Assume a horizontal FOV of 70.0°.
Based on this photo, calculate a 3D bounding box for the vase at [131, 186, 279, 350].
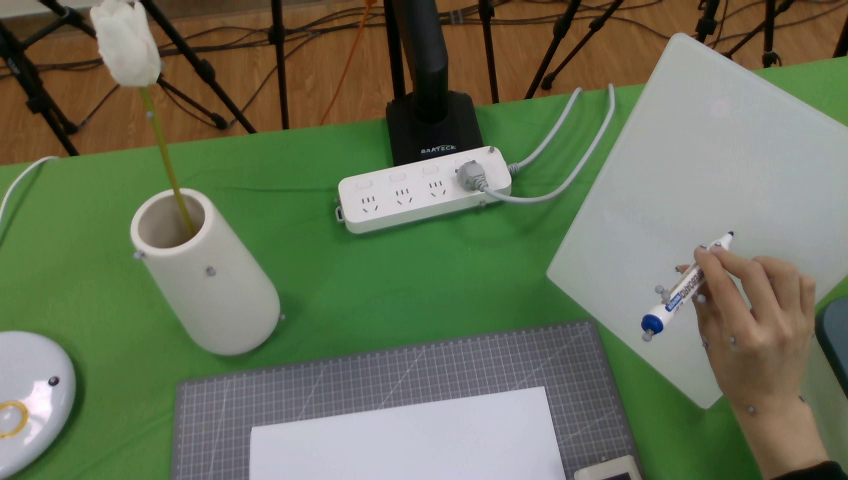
[{"bbox_3d":[-0.210,0.032,0.593,0.098,0.202,0.097,-1,58,3],"label":"vase"}]

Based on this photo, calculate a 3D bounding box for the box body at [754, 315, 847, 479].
[{"bbox_3d":[0.470,0.220,0.481,0.254,0.162,0.360,-9,59,-4],"label":"box body"}]

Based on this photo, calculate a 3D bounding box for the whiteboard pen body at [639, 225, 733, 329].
[{"bbox_3d":[0.204,0.023,0.461,0.017,0.017,0.141,40,55,23],"label":"whiteboard pen body"}]

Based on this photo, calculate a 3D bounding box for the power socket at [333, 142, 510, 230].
[{"bbox_3d":[-0.001,-0.068,0.746,0.227,0.033,0.071,-13,60,-7],"label":"power socket"}]

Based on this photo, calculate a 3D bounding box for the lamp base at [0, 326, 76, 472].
[{"bbox_3d":[-0.454,0.117,0.558,0.178,0.182,0.160,20,61,17],"label":"lamp base"}]

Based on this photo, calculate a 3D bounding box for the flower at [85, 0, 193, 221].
[{"bbox_3d":[-0.209,-0.027,0.533,0.038,0.365,0.043,-18,41,-17],"label":"flower"}]

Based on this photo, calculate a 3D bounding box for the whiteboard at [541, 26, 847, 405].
[{"bbox_3d":[0.288,-0.028,0.590,0.144,0.307,0.215,-27,59,-36],"label":"whiteboard"}]

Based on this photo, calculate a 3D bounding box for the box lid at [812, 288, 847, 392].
[{"bbox_3d":[0.468,0.179,0.418,0.263,0.015,0.367,-9,60,-4],"label":"box lid"}]

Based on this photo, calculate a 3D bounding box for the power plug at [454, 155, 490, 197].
[{"bbox_3d":[0.055,-0.068,0.717,0.035,0.053,0.072,-5,60,-1],"label":"power plug"}]

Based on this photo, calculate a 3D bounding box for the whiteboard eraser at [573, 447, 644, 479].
[{"bbox_3d":[0.179,0.247,0.540,0.056,0.042,0.111,-13,59,-8],"label":"whiteboard eraser"}]
